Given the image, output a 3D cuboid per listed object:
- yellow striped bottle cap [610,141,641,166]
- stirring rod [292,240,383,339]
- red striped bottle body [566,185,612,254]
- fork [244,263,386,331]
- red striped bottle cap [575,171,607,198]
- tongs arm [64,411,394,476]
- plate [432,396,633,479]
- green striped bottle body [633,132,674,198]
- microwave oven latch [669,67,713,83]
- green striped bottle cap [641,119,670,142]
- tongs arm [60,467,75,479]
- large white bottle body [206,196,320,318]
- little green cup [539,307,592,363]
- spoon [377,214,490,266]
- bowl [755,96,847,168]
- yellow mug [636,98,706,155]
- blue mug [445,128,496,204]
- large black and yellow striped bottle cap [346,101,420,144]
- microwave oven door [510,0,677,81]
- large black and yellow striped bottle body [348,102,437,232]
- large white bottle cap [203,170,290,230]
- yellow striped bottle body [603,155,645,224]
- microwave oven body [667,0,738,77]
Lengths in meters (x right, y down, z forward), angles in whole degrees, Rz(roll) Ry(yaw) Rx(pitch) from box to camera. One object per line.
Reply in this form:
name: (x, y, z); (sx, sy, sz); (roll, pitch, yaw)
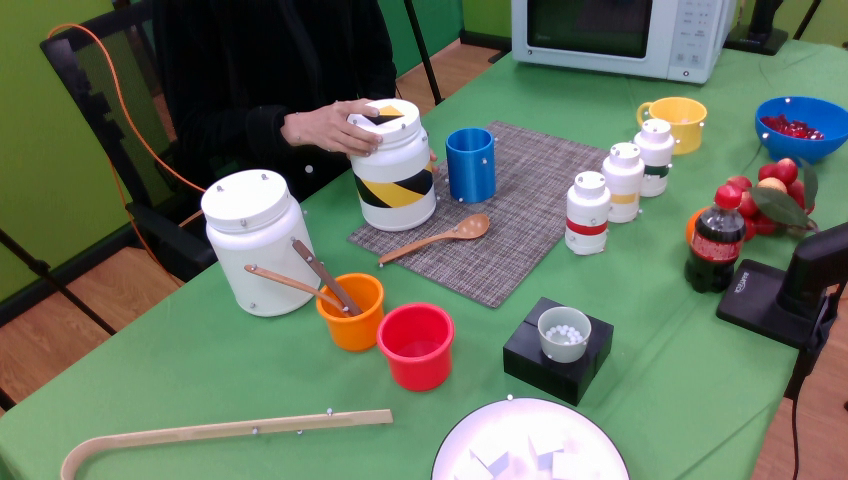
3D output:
yellow striped bottle cap: (0.308, -0.131, 0.925); (0.044, 0.019, 0.044); (-4, 46, 5)
stirring rod: (-0.118, 0.068, 0.826); (0.176, 0.006, 0.014); (49, 59, -4)
red striped bottle body: (0.248, -0.041, 0.910); (0.063, 0.120, 0.062); (-4, 41, 4)
fork: (-0.141, 0.077, 0.807); (0.209, 0.018, 0.028); (30, 44, -24)
red striped bottle cap: (0.242, -0.082, 0.876); (0.044, 0.018, 0.044); (-5, 44, 5)
tongs arm: (-0.228, 0.241, 0.715); (0.385, 0.026, 0.050); (-5, 43, 4)
plate: (0.112, 0.261, 0.634); (0.209, 0.038, 0.208); (-5, 40, 4)
green striped bottle body: (0.376, -0.135, 1.001); (0.063, 0.120, 0.063); (-5, 40, 5)
microwave oven latch: (0.556, -0.349, 1.261); (0.078, 0.029, 0.030); (16, 46, 27)
green striped bottle cap: (0.371, -0.175, 0.968); (0.044, 0.020, 0.044); (-5, 42, 5)
tongs arm: (-0.239, 0.301, 0.648); (0.386, 0.028, 0.028); (6, 49, 16)
large white bottle body: (-0.233, 0.008, 0.876); (0.130, 0.185, 0.130); (-4, 40, 4)
little green cup: (0.168, 0.115, 0.721); (0.061, 0.039, 0.061); (-4, 42, 4)
spoon: (0.015, 0.002, 0.966); (0.194, 0.022, 0.041); (-19, 63, -12)
bowl: (0.645, -0.177, 1.041); (0.151, 0.077, 0.150); (-5, 40, 4)
yellow mug: (0.453, -0.217, 1.128); (0.100, 0.064, 0.129); (-34, 46, -27)
blue mug: (0.083, -0.139, 1.058); (0.082, 0.106, 0.116); (-2, 40, 7)
large black and yellow striped bottle cap: (-0.064, -0.184, 0.938); (0.115, 0.019, 0.114); (-5, 37, 4)
microwave oven door: (0.354, -0.478, 1.290); (0.353, 0.245, 0.039); (15, 45, 25)
large black and yellow striped bottle body: (-0.052, -0.119, 0.993); (0.131, 0.185, 0.130); (-5, 40, 4)
large white bottle cap: (-0.241, -0.057, 0.822); (0.115, 0.018, 0.114); (-4, 40, 4)
yellow striped bottle body: (0.314, -0.091, 0.957); (0.063, 0.121, 0.062); (-4, 40, 4)
microwave oven body: (0.462, -0.552, 1.369); (0.439, 0.261, 0.326); (15, 45, 26)
